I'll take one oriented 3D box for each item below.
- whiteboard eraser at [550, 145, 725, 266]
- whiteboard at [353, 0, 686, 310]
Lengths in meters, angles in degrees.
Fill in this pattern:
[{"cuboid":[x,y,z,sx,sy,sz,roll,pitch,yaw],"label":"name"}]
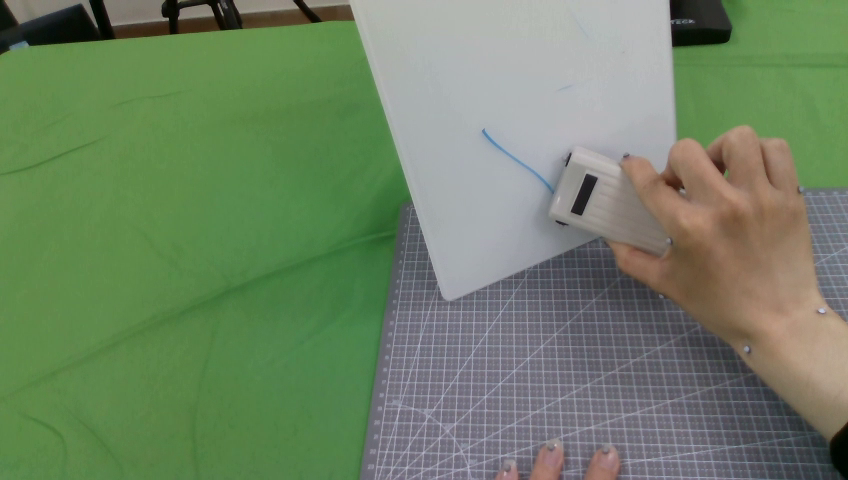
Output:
[{"cuboid":[0.152,-0.027,0.440,0.112,0.056,0.041,21,26,8],"label":"whiteboard eraser"},{"cuboid":[0.059,-0.142,0.463,0.217,0.308,0.142,-22,30,-8],"label":"whiteboard"}]
